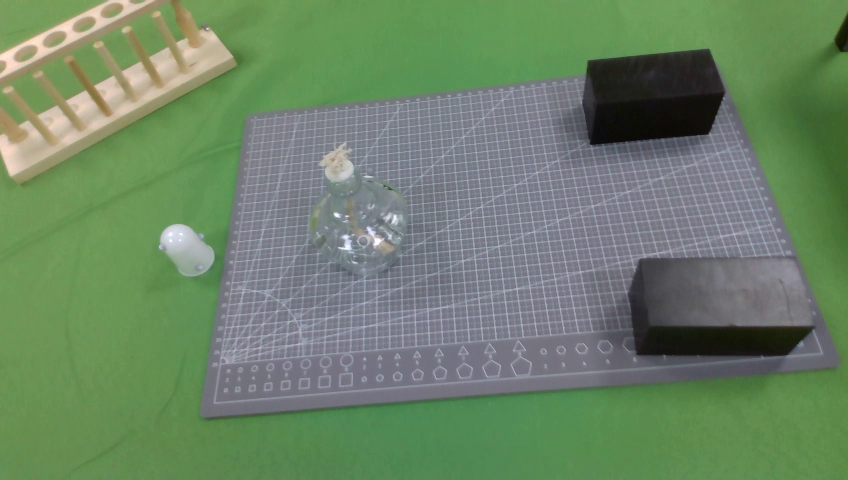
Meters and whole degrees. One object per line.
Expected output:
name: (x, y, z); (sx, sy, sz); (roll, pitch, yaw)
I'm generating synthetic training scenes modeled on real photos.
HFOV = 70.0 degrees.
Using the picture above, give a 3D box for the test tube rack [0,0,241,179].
test tube rack: (-0.316, -0.166, 0.595); (0.242, 0.086, 0.066); (-33, 60, -12)

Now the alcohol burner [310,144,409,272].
alcohol burner: (-0.052, -0.027, 0.454); (0.078, 0.120, 0.077); (-4, 56, 6)

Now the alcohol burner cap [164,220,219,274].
alcohol burner cap: (-0.195, 0.004, 0.502); (0.034, 0.048, 0.033); (-4, 58, 7)
